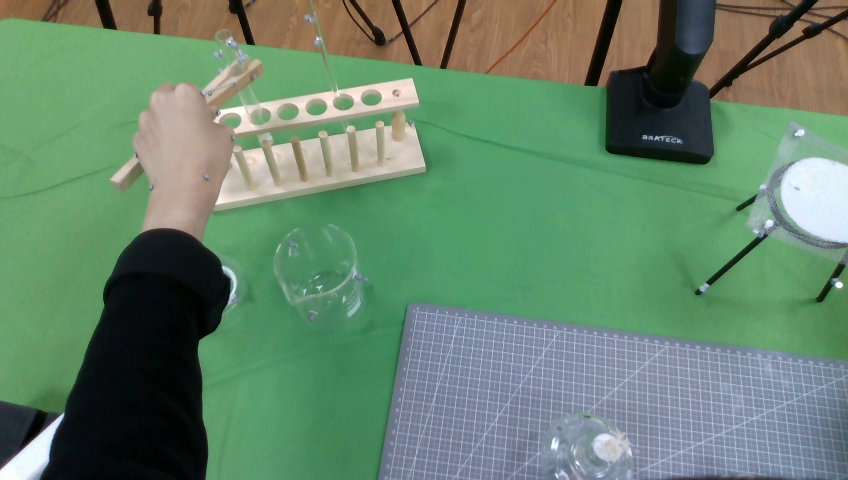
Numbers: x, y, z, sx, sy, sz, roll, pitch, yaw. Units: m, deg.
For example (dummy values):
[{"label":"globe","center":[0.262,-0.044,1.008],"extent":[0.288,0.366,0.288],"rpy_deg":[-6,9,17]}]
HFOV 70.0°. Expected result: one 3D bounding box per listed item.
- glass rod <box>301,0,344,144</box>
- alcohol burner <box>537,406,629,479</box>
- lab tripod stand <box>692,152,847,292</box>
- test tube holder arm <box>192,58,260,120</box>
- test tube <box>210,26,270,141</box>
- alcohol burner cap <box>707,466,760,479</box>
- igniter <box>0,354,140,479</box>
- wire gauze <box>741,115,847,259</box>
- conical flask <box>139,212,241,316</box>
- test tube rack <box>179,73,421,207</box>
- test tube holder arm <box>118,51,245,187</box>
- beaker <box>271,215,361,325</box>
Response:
[{"label":"glass rod","center":[-0.099,-0.166,0.612],"extent":[0.008,0.201,0.008],"rpy_deg":[-3,56,4]},{"label":"alcohol burner","center":[0.136,0.173,0.501],"extent":[0.078,0.120,0.077],"rpy_deg":[1,63,-2]},{"label":"lab tripod stand","center":[0.346,-0.010,0.586],"extent":[0.148,0.132,0.147],"rpy_deg":[1,63,-2]},{"label":"test tube holder arm","center":[-0.184,-0.139,0.558],"extent":[0.010,0.015,0.087],"rpy_deg":[35,56,7]},{"label":"test tube","center":[-0.176,-0.146,0.591],"extent":[0.017,0.151,0.017],"rpy_deg":[-1,61,2]},{"label":"alcohol burner cap","center":[0.271,0.210,0.524],"extent":[0.034,0.048,0.033],"rpy_deg":[1,64,-1]},{"label":"igniter","center":[-0.347,0.203,0.480],"extent":[0.057,0.025,0.276],"rpy_deg":[33,67,25]},{"label":"wire gauze","center":[0.354,-0.041,0.526],"extent":[0.121,0.011,0.124],"rpy_deg":[28,67,11]},{"label":"conical flask","center":[-0.225,0.019,0.572],"extent":[0.075,0.123,0.074],"rpy_deg":[0,63,0]},{"label":"test tube rack","center":[-0.128,-0.107,0.657],"extent":[0.243,0.086,0.066],"rpy_deg":[-12,64,-6]},{"label":"test tube holder arm","center":[-0.208,-0.111,0.533],"extent":[0.013,0.015,0.177],"rpy_deg":[27,55,2]},{"label":"beaker","center":[-0.100,0.036,0.578],"extent":[0.074,0.101,0.083],"rpy_deg":[21,65,11]}]
